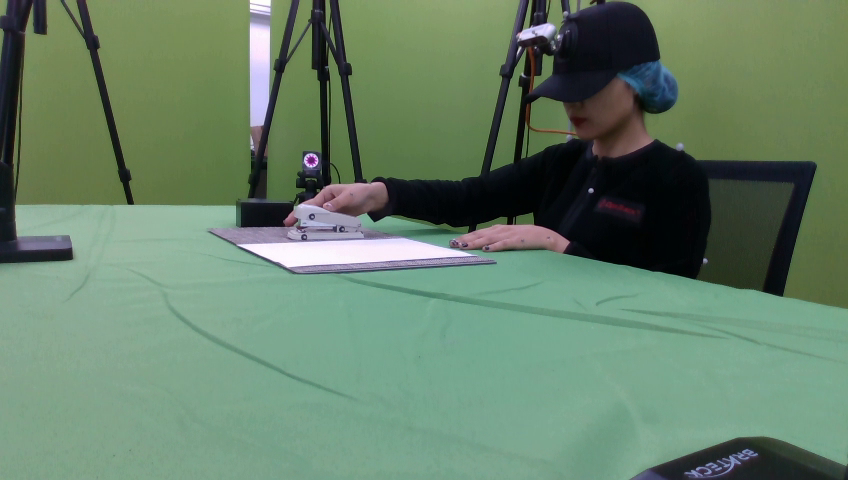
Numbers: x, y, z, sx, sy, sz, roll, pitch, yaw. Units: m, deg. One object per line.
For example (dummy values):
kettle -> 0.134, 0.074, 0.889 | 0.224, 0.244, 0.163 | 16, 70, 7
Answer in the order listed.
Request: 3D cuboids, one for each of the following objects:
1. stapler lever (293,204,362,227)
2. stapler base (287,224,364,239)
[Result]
stapler lever -> -0.164, -0.041, 1.031 | 0.119, 0.040, 0.026 | -1, 16, -32
stapler base -> -0.167, -0.017, 1.035 | 0.131, 0.024, 0.041 | -1, 16, -32
